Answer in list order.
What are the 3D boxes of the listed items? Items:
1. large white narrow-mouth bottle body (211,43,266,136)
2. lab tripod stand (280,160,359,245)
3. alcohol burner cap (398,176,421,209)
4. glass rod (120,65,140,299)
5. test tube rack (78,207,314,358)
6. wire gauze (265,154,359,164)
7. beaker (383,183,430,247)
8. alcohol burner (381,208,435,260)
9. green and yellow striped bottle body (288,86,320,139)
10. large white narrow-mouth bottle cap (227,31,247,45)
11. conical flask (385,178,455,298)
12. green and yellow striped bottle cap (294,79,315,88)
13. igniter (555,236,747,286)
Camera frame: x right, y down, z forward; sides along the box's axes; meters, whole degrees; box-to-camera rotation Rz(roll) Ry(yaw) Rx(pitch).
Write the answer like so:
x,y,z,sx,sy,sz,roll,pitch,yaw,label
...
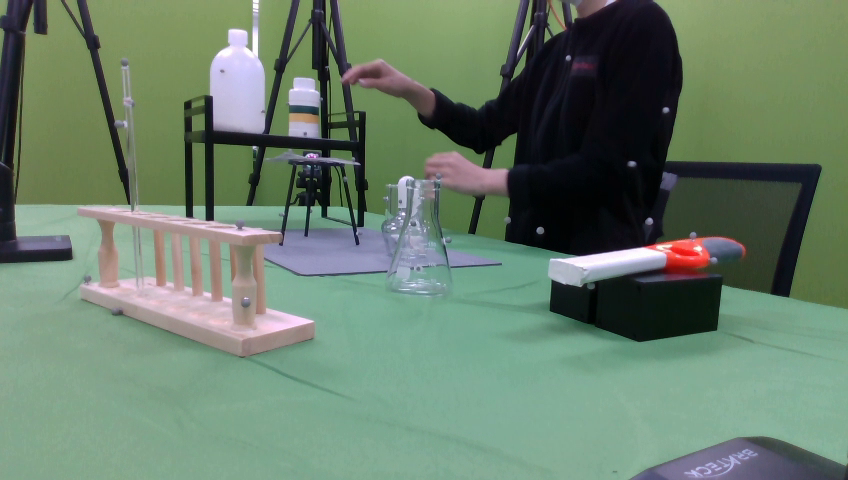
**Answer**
x,y,z,sx,sy,sz,roll,pitch,yaw,label
-0.361,-0.302,1.176,0.102,0.194,0.102,1,7,0,large white narrow-mouth bottle body
-0.176,-0.062,0.973,0.148,0.131,0.148,1,7,0,lab tripod stand
-0.023,-0.068,0.866,0.034,0.048,0.034,-5,8,1,alcohol burner cap
-0.249,-0.047,0.513,0.008,0.199,0.008,-1,4,0,glass rod
-0.196,0.023,0.500,0.241,0.085,0.067,8,8,37,test tube rack
-0.181,-0.129,0.969,0.126,0.011,0.121,-1,7,-27,wire gauze
-0.027,-0.041,0.996,0.074,0.100,0.083,-5,11,-43,beaker
-0.023,-0.032,0.871,0.078,0.119,0.078,1,6,0,alcohol burner
-0.250,-0.272,1.261,0.063,0.119,0.063,3,7,0,green and yellow striped bottle body
-0.361,-0.388,1.166,0.038,0.024,0.037,1,7,0,large white narrow-mouth bottle cap
-0.002,-0.004,0.639,0.075,0.122,0.075,2,7,0,conical flask
-0.248,-0.323,1.256,0.045,0.020,0.045,3,9,0,green and yellow striped bottle cap
0.221,0.017,0.558,0.278,0.025,0.057,-5,15,-39,igniter
